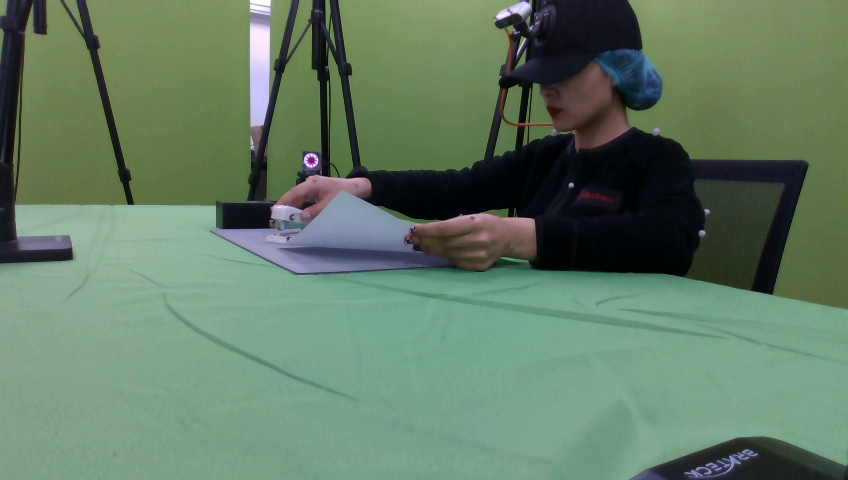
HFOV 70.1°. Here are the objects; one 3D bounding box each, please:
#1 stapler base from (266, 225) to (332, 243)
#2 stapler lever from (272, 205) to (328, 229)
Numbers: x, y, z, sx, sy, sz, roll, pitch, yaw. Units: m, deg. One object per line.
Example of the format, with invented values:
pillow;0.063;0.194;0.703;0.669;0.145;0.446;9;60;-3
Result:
stapler base;-0.208;-0.013;1.013;0.041;0.024;0.131;9;8;28
stapler lever;-0.206;-0.038;1.011;0.026;0.040;0.118;9;8;28
